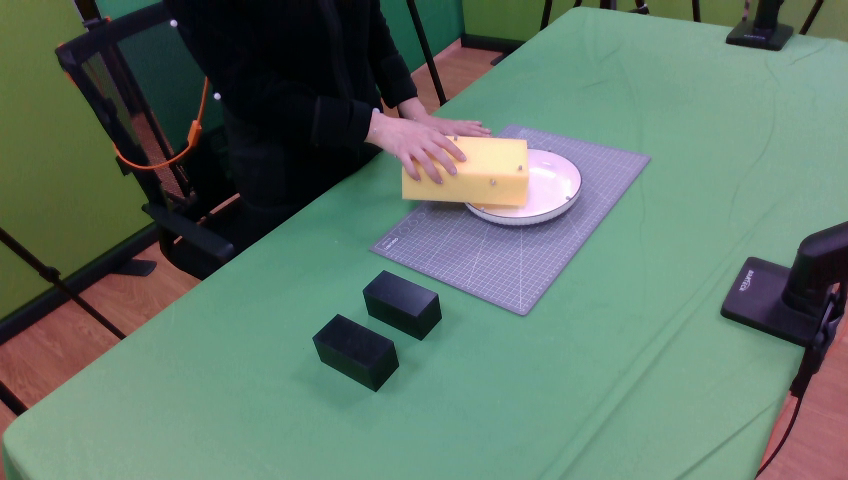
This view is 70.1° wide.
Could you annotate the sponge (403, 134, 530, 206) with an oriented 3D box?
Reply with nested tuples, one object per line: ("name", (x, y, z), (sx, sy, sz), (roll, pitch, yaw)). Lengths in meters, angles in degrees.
("sponge", (0.072, -0.121, 1.024), (0.207, 0.061, 0.117), (3, 40, 1))

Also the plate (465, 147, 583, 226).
("plate", (0.166, -0.089, 1.043), (0.209, 0.038, 0.208), (-5, 40, 5))
